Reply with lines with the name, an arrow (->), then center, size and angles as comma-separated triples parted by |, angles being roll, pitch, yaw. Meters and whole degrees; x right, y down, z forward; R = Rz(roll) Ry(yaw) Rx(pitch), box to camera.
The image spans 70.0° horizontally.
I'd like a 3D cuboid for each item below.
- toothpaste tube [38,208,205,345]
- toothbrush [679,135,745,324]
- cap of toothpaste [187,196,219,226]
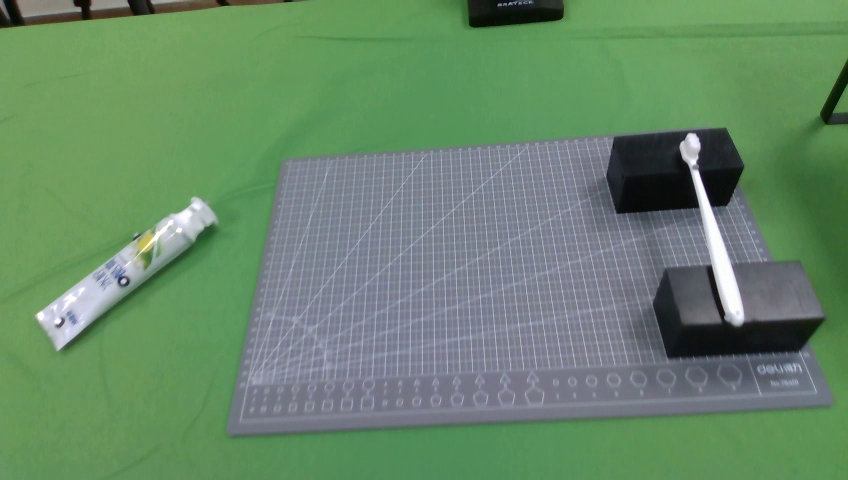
toothpaste tube -> -0.272, 0.024, 0.558 | 0.165, 0.035, 0.054 | -42, 52, -20
toothbrush -> 0.224, -0.016, 0.473 | 0.014, 0.017, 0.180 | 6, 54, -2
cap of toothpaste -> -0.214, -0.027, 0.583 | 0.037, 0.038, 0.011 | 26, 57, 25
